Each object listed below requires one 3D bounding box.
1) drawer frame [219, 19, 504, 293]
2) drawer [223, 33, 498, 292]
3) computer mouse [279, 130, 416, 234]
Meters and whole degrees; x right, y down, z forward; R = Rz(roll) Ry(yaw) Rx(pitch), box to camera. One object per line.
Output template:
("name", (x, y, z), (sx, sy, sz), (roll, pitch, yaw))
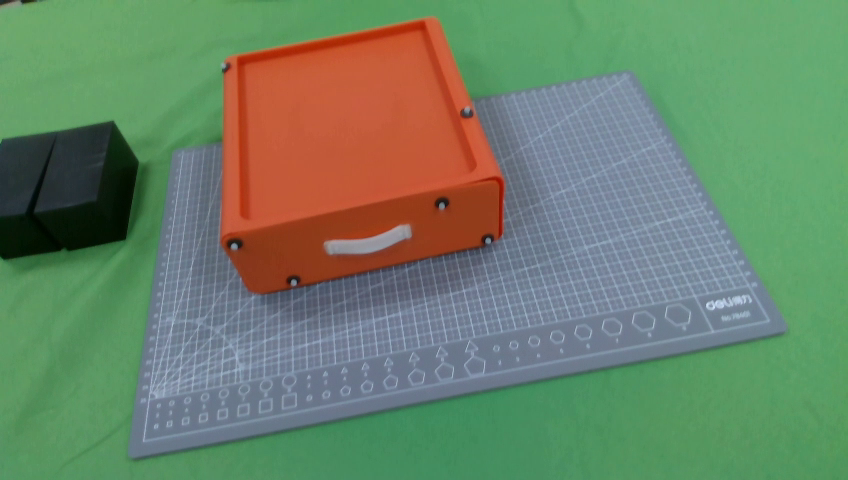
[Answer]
("drawer frame", (-0.059, -0.077, 0.503), (0.202, 0.083, 0.211), (-13, 51, -3))
("drawer", (-0.059, -0.075, 0.502), (0.194, 0.074, 0.209), (-12, 51, -2))
("computer mouse", (-0.064, -0.048, 0.485), (0.117, 0.041, 0.062), (-18, 52, 10))
